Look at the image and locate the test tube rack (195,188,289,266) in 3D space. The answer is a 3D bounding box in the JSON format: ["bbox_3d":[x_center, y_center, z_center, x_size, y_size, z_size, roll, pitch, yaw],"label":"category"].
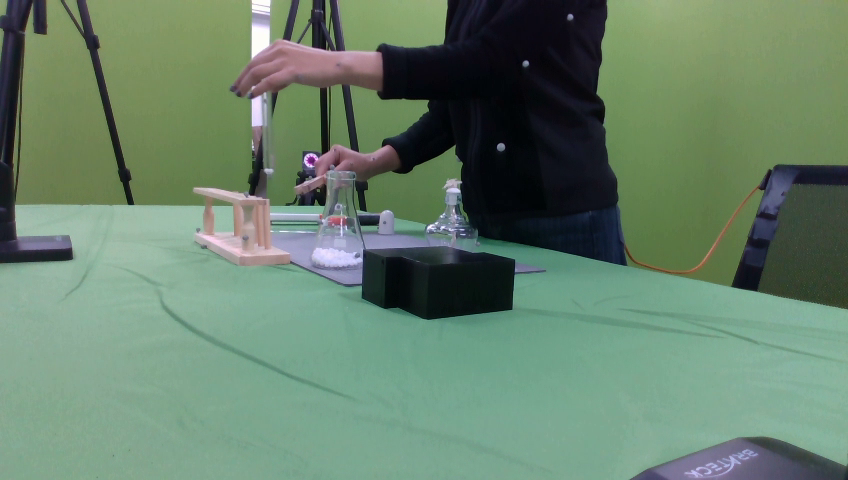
[{"bbox_3d":[-0.266,-0.025,0.864,0.067,0.085,0.241,-2,8,-33],"label":"test tube rack"}]

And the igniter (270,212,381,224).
[{"bbox_3d":[-0.213,-0.048,1.279,0.278,0.025,0.057,-1,-2,-24],"label":"igniter"}]

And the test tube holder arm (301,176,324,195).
[{"bbox_3d":[-0.199,-0.098,1.084,0.010,0.015,0.088,2,19,10],"label":"test tube holder arm"}]

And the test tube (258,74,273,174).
[{"bbox_3d":[-0.242,-0.176,0.923,0.017,0.150,0.017,0,10,0],"label":"test tube"}]

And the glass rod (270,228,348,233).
[{"bbox_3d":[-0.235,-0.017,1.104,0.201,0.008,0.008,1,7,-26],"label":"glass rod"}]

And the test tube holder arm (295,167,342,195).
[{"bbox_3d":[-0.194,-0.113,1.126,0.013,0.015,0.178,4,20,15],"label":"test tube holder arm"}]

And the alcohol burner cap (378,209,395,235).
[{"bbox_3d":[-0.071,-0.034,1.145,0.034,0.048,0.034,2,8,0],"label":"alcohol burner cap"}]

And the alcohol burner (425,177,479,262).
[{"bbox_3d":[0.040,-0.029,0.853,0.078,0.119,0.078,2,9,0],"label":"alcohol burner"}]

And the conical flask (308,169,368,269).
[{"bbox_3d":[-0.107,-0.028,0.762,0.075,0.122,0.075,2,7,0],"label":"conical flask"}]
